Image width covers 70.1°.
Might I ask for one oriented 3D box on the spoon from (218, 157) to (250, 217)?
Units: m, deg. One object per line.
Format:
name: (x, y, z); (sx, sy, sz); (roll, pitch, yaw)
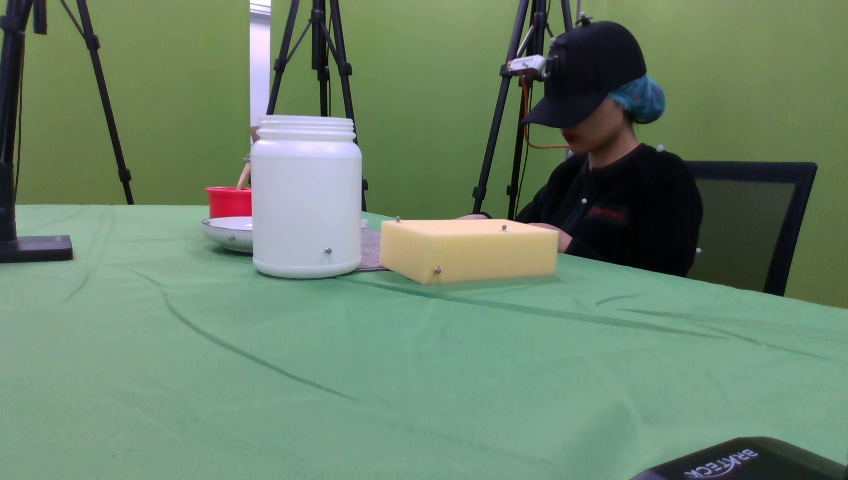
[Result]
spoon: (-0.332, -0.091, 1.091); (0.041, 0.021, 0.193); (3, 51, 5)

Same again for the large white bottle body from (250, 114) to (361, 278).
large white bottle body: (-0.141, -0.057, 0.727); (0.131, 0.184, 0.130); (1, 10, 0)

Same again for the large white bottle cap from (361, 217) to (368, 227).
large white bottle cap: (-0.171, -0.038, 1.234); (0.115, 0.018, 0.115); (1, 5, 0)

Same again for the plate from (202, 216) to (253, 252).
plate: (-0.223, -0.010, 0.909); (0.209, 0.038, 0.209); (2, 7, 0)

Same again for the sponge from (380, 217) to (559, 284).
sponge: (0.059, 0.008, 0.786); (0.208, 0.061, 0.117); (-3, 11, -32)
